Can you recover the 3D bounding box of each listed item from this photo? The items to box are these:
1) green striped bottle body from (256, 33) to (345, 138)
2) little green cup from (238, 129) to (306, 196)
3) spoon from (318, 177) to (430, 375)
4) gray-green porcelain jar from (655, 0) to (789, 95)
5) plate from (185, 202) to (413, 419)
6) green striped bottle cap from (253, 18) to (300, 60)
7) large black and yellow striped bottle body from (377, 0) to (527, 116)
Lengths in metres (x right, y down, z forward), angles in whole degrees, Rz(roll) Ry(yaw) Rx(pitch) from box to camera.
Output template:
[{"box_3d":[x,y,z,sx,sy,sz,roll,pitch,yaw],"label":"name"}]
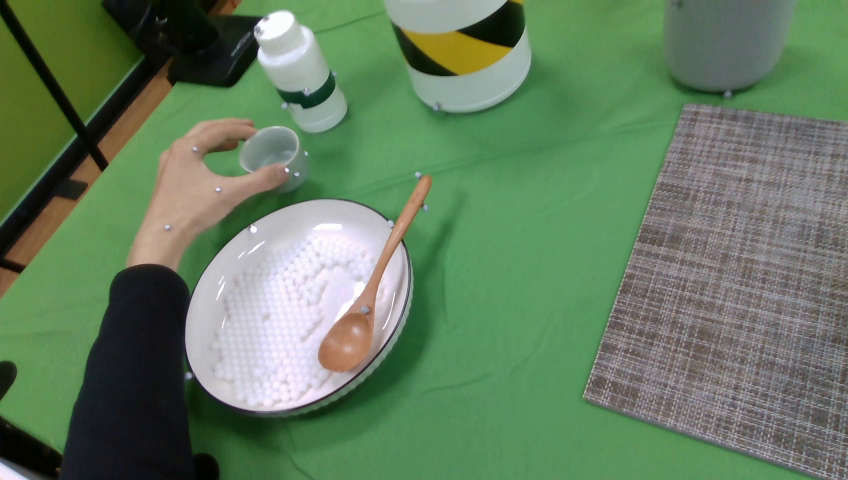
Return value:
[{"box_3d":[-0.135,-0.172,0.649,0.063,0.120,0.062,-9,54,13],"label":"green striped bottle body"},{"box_3d":[-0.148,-0.076,0.602,0.061,0.039,0.061,-7,55,11],"label":"little green cup"},{"box_3d":[-0.035,0.025,0.512,0.041,0.022,0.193,16,71,26],"label":"spoon"},{"box_3d":[0.262,-0.203,0.537,0.105,0.128,0.105,-9,54,12],"label":"gray-green porcelain jar"},{"box_3d":[-0.106,0.059,0.532,0.209,0.038,0.207,-9,54,12],"label":"plate"},{"box_3d":[-0.148,-0.201,0.609,0.044,0.020,0.044,-7,57,11],"label":"green striped bottle cap"},{"box_3d":[0.025,-0.229,0.596,0.130,0.186,0.129,-9,54,13],"label":"large black and yellow striped bottle body"}]
